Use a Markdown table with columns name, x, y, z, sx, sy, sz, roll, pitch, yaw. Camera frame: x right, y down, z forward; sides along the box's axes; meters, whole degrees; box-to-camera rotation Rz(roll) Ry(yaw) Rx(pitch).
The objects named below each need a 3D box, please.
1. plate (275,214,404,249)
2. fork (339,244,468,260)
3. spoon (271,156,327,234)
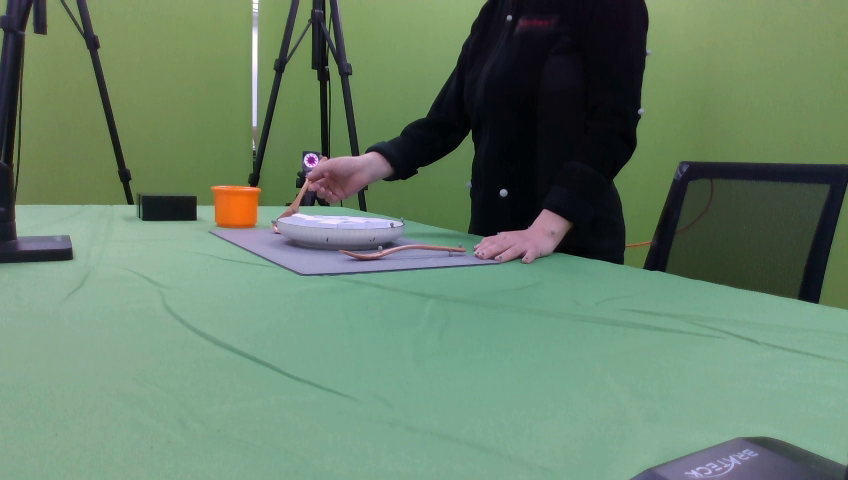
| name | x | y | z | sx | sy | sz | roll | pitch | yaw |
| --- | --- | --- | --- | --- | --- | --- | --- | --- | --- |
| plate | -0.135 | -0.013 | 0.982 | 0.208 | 0.039 | 0.207 | 3 | 7 | 0 |
| fork | -0.024 | 0.016 | 0.865 | 0.208 | 0.018 | 0.028 | -4 | 4 | -31 |
| spoon | -0.224 | -0.086 | 1.117 | 0.041 | 0.194 | 0.022 | 17 | -28 | 15 |
